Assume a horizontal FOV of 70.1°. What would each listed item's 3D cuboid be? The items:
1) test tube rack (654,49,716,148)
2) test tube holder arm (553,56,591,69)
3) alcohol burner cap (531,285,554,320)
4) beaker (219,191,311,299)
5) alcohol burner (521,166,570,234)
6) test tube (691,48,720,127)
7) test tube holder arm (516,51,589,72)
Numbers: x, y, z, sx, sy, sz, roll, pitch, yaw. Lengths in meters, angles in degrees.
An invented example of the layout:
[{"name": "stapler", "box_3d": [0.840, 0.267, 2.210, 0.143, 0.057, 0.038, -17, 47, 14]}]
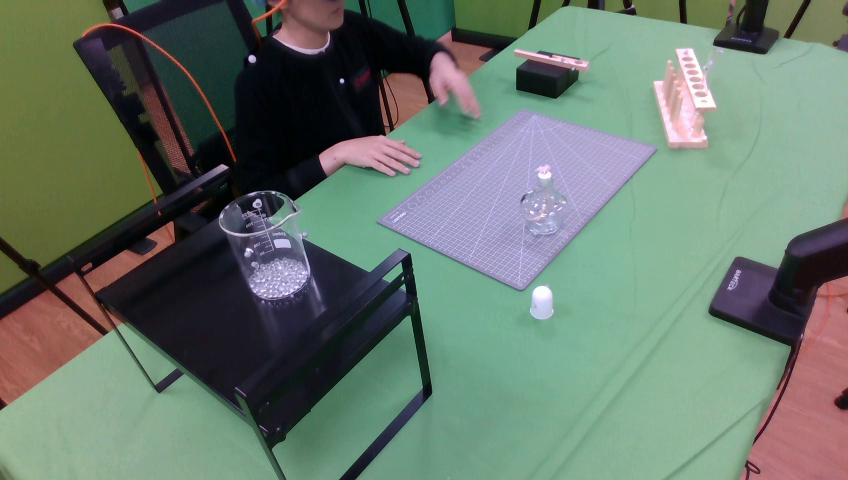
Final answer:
[{"name": "test tube rack", "box_3d": [0.502, -0.281, 1.176, 0.066, 0.085, 0.241, 2, 41, 11]}, {"name": "test tube holder arm", "box_3d": [0.315, -0.380, 1.297, 0.087, 0.015, 0.010, 22, 57, 32]}, {"name": "alcohol burner cap", "box_3d": [0.164, 0.084, 0.838, 0.034, 0.048, 0.033, -4, 40, 4]}, {"name": "beaker", "box_3d": [-0.164, 0.008, 0.654, 0.084, 0.101, 0.073, -10, 41, -3]}, {"name": "alcohol burner", "box_3d": [0.192, -0.068, 0.951, 0.078, 0.119, 0.077, -4, 42, 4]}, {"name": "test tube", "box_3d": [0.505, -0.270, 1.088, 0.017, 0.151, 0.017, -1, 40, 2]}, {"name": "test tube holder arm", "box_3d": [0.277, -0.391, 1.318, 0.177, 0.015, 0.013, 22, 57, 32]}]
